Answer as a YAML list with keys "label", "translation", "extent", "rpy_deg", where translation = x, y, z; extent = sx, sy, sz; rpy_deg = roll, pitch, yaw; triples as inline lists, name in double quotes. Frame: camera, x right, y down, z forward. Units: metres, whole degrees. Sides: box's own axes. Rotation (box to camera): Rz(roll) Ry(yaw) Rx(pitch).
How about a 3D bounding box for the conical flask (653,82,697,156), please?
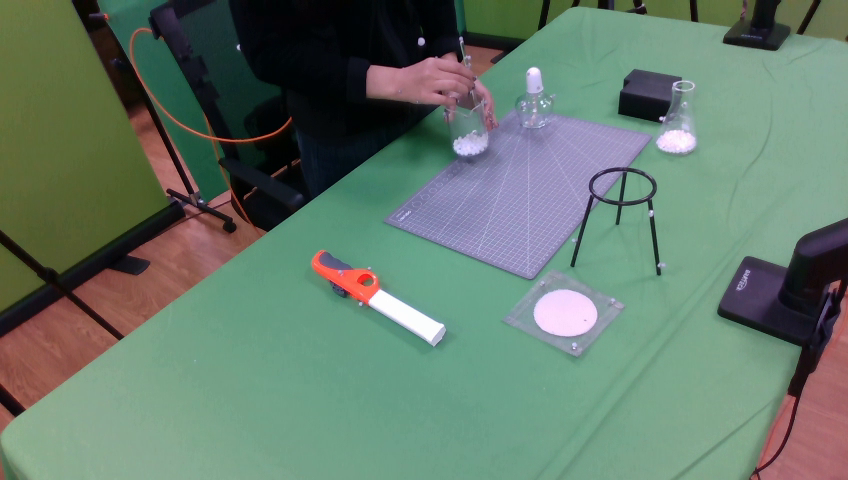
- label: "conical flask"
  translation: [0.454, -0.218, 1.077]
  extent: [0.075, 0.122, 0.075]
  rpy_deg: [-5, 40, 5]

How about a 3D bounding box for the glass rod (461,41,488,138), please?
- label: "glass rod"
  translation: [0.091, -0.260, 1.070]
  extent: [0.008, 0.201, 0.008]
  rpy_deg: [-11, 44, 12]

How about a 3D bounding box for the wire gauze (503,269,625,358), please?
- label: "wire gauze"
  translation: [0.194, 0.100, 0.840]
  extent: [0.120, 0.011, 0.125]
  rpy_deg: [27, 54, 36]

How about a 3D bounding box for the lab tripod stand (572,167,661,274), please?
- label: "lab tripod stand"
  translation: [0.283, -0.030, 0.879]
  extent: [0.148, 0.132, 0.147]
  rpy_deg: [-7, 38, 6]

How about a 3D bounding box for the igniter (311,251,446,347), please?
- label: "igniter"
  translation: [-0.078, 0.081, 0.899]
  extent: [0.274, 0.025, 0.057]
  rpy_deg: [27, 63, 35]

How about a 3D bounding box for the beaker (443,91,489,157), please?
- label: "beaker"
  translation: [0.080, -0.209, 1.105]
  extent: [0.074, 0.101, 0.083]
  rpy_deg: [-13, 40, 2]

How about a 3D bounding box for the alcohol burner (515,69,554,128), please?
- label: "alcohol burner"
  translation: [0.221, -0.285, 1.203]
  extent: [0.078, 0.119, 0.077]
  rpy_deg: [-4, 39, 4]

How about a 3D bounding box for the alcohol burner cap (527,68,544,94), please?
- label: "alcohol burner cap"
  translation: [0.216, -0.312, 1.179]
  extent: [0.034, 0.048, 0.033]
  rpy_deg: [-9, 40, 9]
